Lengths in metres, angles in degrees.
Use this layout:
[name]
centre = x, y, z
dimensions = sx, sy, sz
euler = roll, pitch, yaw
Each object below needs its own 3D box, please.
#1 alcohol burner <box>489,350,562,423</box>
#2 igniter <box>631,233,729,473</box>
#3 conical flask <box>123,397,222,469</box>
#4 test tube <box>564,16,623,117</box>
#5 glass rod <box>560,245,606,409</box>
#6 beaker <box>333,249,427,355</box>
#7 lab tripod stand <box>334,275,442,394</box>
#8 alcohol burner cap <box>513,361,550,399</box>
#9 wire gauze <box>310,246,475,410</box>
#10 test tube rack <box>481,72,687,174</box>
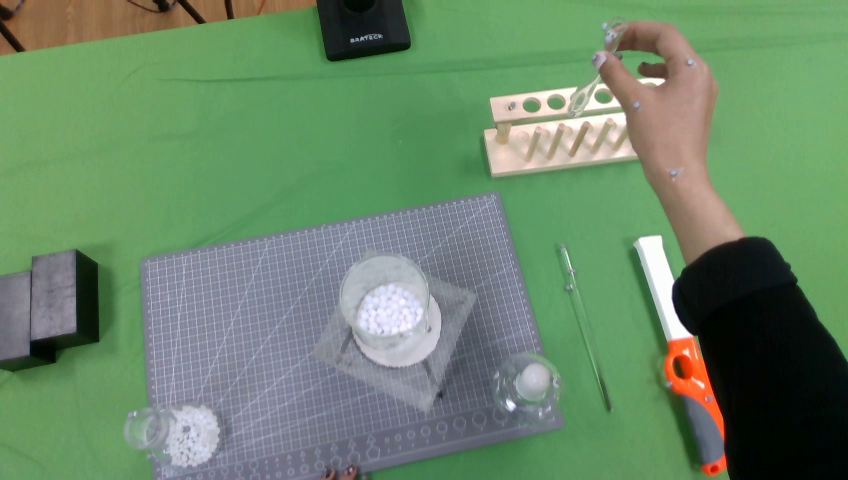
[alcohol burner]
centre = 0.108, 0.151, 0.637
dimensions = 0.078, 0.120, 0.077
euler = -1, 69, 2
[igniter]
centre = 0.294, 0.122, 0.699
dimensions = 0.057, 0.025, 0.274
euler = -5, 69, -14
[conical flask]
centre = -0.258, 0.192, 0.613
dimensions = 0.075, 0.122, 0.075
euler = 0, 69, 0
[test tube]
centre = 0.145, -0.146, 0.533
dimensions = 0.017, 0.151, 0.017
euler = 0, 76, 1
[glass rod]
centre = 0.187, 0.099, 0.717
dimensions = 0.008, 0.008, 0.198
euler = -9, 73, -4
[beaker]
centre = -0.032, 0.061, 0.536
dimensions = 0.083, 0.101, 0.074
euler = 37, 74, 12
[lab tripod stand]
centre = -0.032, 0.102, 0.643
dimensions = 0.148, 0.132, 0.147
euler = 0, 71, 0
[alcohol burner cap]
centre = 0.109, 0.137, 0.604
dimensions = 0.034, 0.048, 0.033
euler = 1, 62, -2
[wire gauze]
centre = -0.029, 0.080, 0.581
dimensions = 0.125, 0.011, 0.121
euler = 25, 74, 7
[test tube rack]
centre = 0.200, -0.146, 0.766
dimensions = 0.242, 0.086, 0.066
euler = -8, 69, -3
